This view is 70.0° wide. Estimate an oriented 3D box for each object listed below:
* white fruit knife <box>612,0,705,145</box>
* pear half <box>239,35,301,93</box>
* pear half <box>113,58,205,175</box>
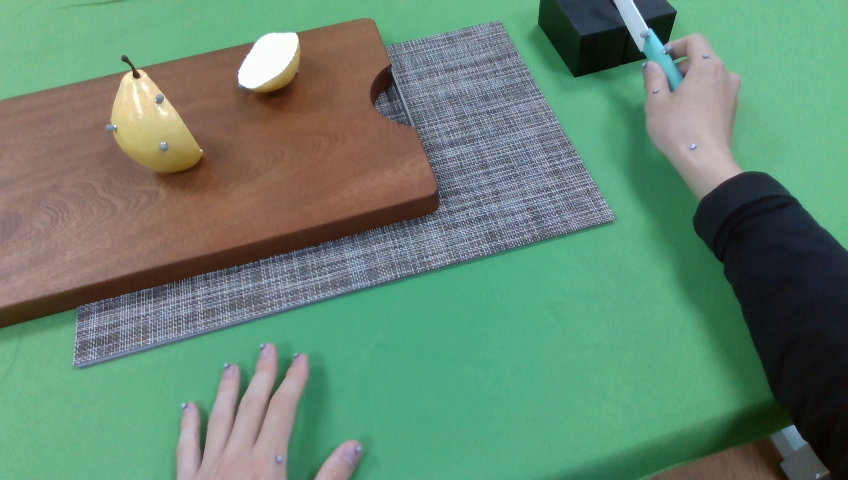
[{"bbox_3d":[0.209,-0.184,0.569,0.016,0.027,0.206,-19,76,-18],"label":"white fruit knife"},{"bbox_3d":[-0.147,-0.169,0.597,0.070,0.031,0.087,-25,41,6],"label":"pear half"},{"bbox_3d":[-0.235,-0.102,0.509,0.075,0.111,0.056,34,64,30],"label":"pear half"}]
